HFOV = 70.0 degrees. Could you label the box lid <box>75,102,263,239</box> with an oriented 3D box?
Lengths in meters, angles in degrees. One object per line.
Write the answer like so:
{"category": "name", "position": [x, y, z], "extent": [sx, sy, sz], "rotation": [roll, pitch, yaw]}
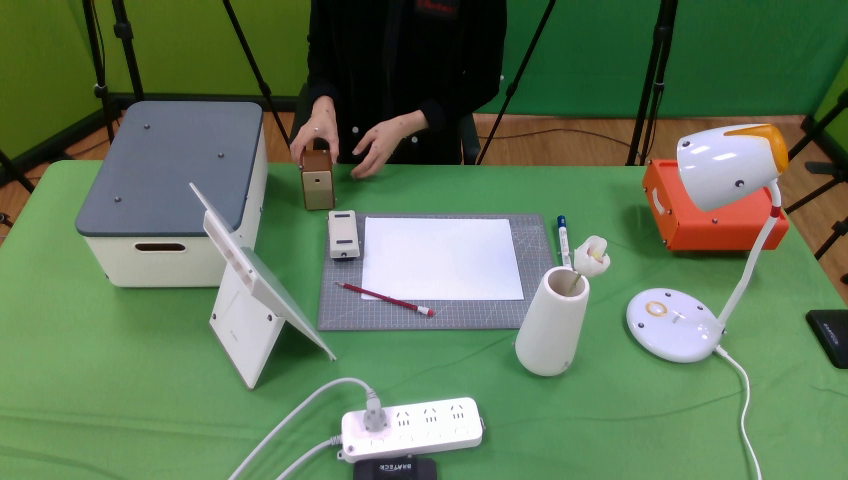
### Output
{"category": "box lid", "position": [-0.443, -0.138, 1.094], "extent": [0.263, 0.015, 0.369], "rotation": [-1, 47, -5]}

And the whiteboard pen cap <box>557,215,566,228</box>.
{"category": "whiteboard pen cap", "position": [0.284, -0.035, 1.246], "extent": [0.018, 0.018, 0.033], "rotation": [4, 52, -1]}

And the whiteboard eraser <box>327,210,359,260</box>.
{"category": "whiteboard eraser", "position": [-0.158, -0.009, 1.177], "extent": [0.055, 0.042, 0.112], "rotation": [-6, 47, -7]}

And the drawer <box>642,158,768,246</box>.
{"category": "drawer", "position": [0.565, -0.076, 1.211], "extent": [0.212, 0.073, 0.193], "rotation": [2, 45, -2]}

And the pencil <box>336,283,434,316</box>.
{"category": "pencil", "position": [-0.074, 0.105, 1.097], "extent": [0.194, 0.012, 0.012], "rotation": [16, 47, 13]}

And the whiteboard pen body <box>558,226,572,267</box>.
{"category": "whiteboard pen body", "position": [0.280, 0.010, 1.208], "extent": [0.017, 0.017, 0.140], "rotation": [3, 50, -1]}

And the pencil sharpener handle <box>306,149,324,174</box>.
{"category": "pencil sharpener handle", "position": [-0.231, -0.170, 1.266], "extent": [0.036, 0.068, 0.030], "rotation": [9, 43, -21]}

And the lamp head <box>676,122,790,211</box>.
{"category": "lamp head", "position": [0.423, -0.104, 0.819], "extent": [0.122, 0.113, 0.112], "rotation": [-13, 33, 40]}

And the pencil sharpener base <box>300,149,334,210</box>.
{"category": "pencil sharpener base", "position": [-0.220, -0.125, 1.242], "extent": [0.061, 0.107, 0.076], "rotation": [-4, 46, -8]}

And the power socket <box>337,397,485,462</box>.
{"category": "power socket", "position": [-0.018, 0.285, 0.915], "extent": [0.227, 0.033, 0.071], "rotation": [-5, 46, -8]}

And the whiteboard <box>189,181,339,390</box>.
{"category": "whiteboard", "position": [-0.292, 0.096, 0.929], "extent": [0.144, 0.307, 0.216], "rotation": [-37, 57, -10]}

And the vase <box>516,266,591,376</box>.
{"category": "vase", "position": [0.208, 0.132, 0.964], "extent": [0.098, 0.201, 0.097], "rotation": [3, 46, -3]}

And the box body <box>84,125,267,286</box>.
{"category": "box body", "position": [-0.446, -0.088, 1.150], "extent": [0.254, 0.161, 0.361], "rotation": [-1, 46, -5]}

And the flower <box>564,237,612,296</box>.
{"category": "flower", "position": [0.206, 0.088, 0.893], "extent": [0.038, 0.363, 0.044], "rotation": [-16, 67, -9]}

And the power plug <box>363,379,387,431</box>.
{"category": "power plug", "position": [-0.072, 0.252, 0.910], "extent": [0.035, 0.053, 0.072], "rotation": [3, 45, -1]}

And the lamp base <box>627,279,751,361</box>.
{"category": "lamp base", "position": [0.459, 0.100, 1.027], "extent": [0.178, 0.181, 0.160], "rotation": [27, 51, 17]}

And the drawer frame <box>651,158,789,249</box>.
{"category": "drawer frame", "position": [0.571, -0.075, 1.214], "extent": [0.214, 0.083, 0.200], "rotation": [0, 46, -1]}
